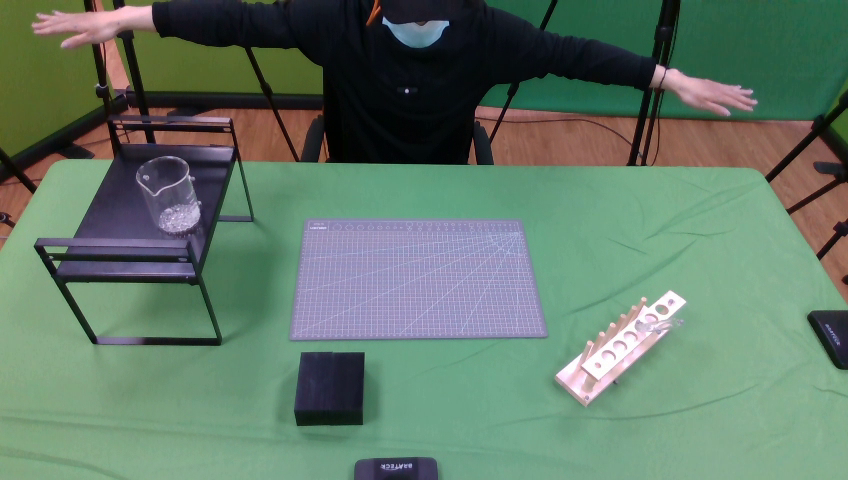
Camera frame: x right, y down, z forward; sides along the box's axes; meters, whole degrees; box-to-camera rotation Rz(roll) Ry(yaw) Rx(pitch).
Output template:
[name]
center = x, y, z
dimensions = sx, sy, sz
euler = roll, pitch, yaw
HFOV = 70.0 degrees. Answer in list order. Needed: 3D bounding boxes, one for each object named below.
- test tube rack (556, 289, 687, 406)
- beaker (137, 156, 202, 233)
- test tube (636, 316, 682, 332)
[test tube rack]
center = 0.332, 0.165, 1.014
dimensions = 0.242, 0.085, 0.066
euler = -31, 55, -28
[beaker]
center = -0.385, -0.065, 0.925
dimensions = 0.074, 0.101, 0.083
euler = 2, 47, -1
[test tube]
center = 0.358, 0.133, 0.941
dimensions = 0.017, 0.151, 0.017
euler = 1, 77, -4
